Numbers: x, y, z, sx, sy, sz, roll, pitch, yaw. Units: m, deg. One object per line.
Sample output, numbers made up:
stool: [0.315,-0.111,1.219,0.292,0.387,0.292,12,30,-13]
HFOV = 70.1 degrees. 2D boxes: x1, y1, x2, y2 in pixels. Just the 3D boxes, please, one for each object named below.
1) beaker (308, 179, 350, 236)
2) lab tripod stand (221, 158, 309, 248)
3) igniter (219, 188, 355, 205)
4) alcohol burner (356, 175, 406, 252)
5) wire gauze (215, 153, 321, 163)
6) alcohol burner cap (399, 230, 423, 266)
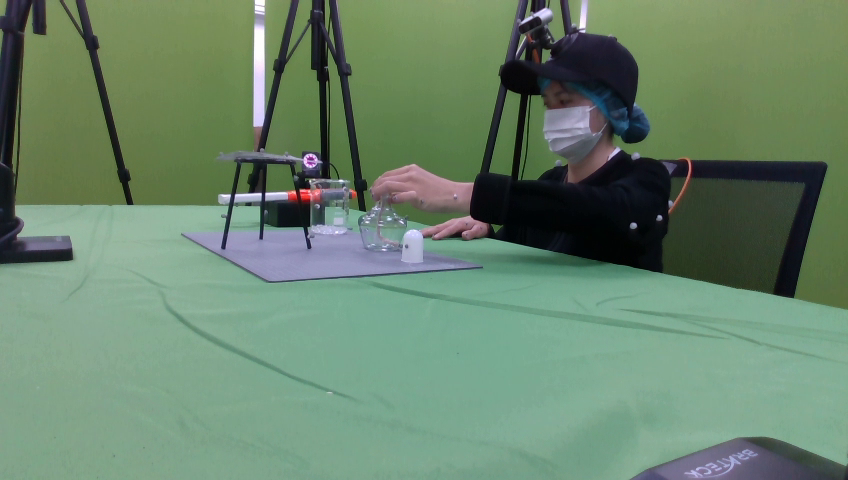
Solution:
beaker: [-0.176,-0.060,1.104,0.073,0.100,0.084,8,10,39]
lab tripod stand: [-0.244,-0.057,0.917,0.148,0.131,0.148,1,7,0]
igniter: [-0.273,-0.089,1.237,0.278,0.025,0.057,-6,11,-30]
alcohol burner: [-0.065,-0.042,0.940,0.078,0.119,0.078,4,6,0]
wire gauze: [-0.235,-0.123,0.906,0.126,0.011,0.121,-2,7,-33]
alcohol burner cap: [-0.017,0.010,0.837,0.034,0.048,0.034,3,7,0]
